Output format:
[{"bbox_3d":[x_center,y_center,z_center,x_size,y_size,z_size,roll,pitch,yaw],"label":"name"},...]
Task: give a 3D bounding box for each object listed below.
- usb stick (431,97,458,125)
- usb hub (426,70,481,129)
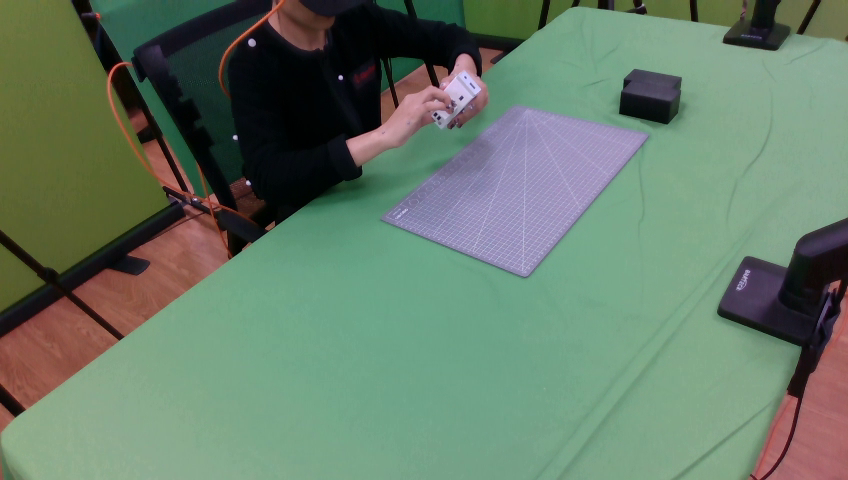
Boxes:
[{"bbox_3d":[0.041,-0.237,1.094,0.027,0.021,0.059,45,62,-5],"label":"usb stick"},{"bbox_3d":[0.053,-0.258,1.116,0.049,0.124,0.025,45,56,-5],"label":"usb hub"}]
